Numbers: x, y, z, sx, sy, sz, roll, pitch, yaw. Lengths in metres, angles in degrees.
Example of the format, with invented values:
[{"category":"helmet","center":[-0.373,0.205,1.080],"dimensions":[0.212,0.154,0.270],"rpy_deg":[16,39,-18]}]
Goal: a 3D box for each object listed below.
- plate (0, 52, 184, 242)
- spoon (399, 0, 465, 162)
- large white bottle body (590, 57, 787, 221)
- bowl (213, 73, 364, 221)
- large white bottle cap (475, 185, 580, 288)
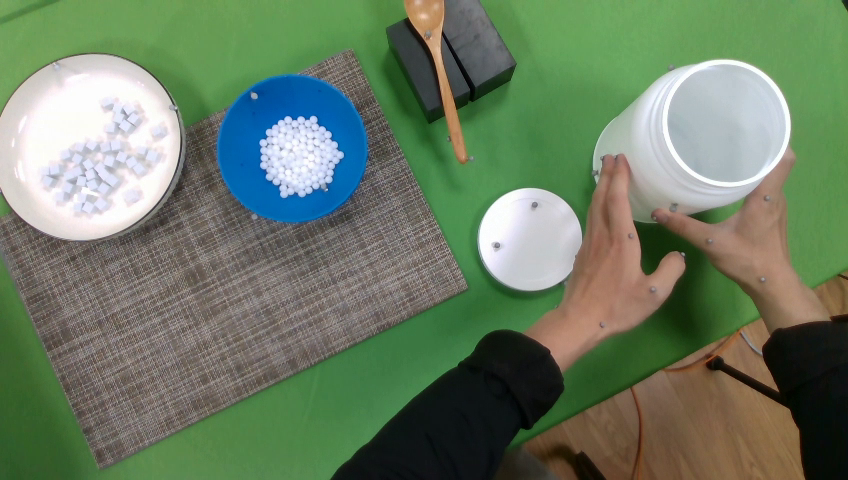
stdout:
[{"category":"plate","center":[-0.362,-0.099,0.661],"dimensions":[0.209,0.038,0.208],"rpy_deg":[0,84,1]},{"category":"spoon","center":[0.013,-0.176,0.630],"dimensions":[0.041,0.021,0.193],"rpy_deg":[-14,92,-6]},{"category":"large white bottle body","center":[0.247,-0.092,0.589],"dimensions":[0.130,0.185,0.130],"rpy_deg":[0,86,1]},{"category":"bowl","center":[-0.134,-0.090,0.639],"dimensions":[0.151,0.077,0.151],"rpy_deg":[0,87,1]},{"category":"large white bottle cap","center":[0.114,-0.004,0.668],"dimensions":[0.115,0.018,0.114],"rpy_deg":[0,87,0]}]
